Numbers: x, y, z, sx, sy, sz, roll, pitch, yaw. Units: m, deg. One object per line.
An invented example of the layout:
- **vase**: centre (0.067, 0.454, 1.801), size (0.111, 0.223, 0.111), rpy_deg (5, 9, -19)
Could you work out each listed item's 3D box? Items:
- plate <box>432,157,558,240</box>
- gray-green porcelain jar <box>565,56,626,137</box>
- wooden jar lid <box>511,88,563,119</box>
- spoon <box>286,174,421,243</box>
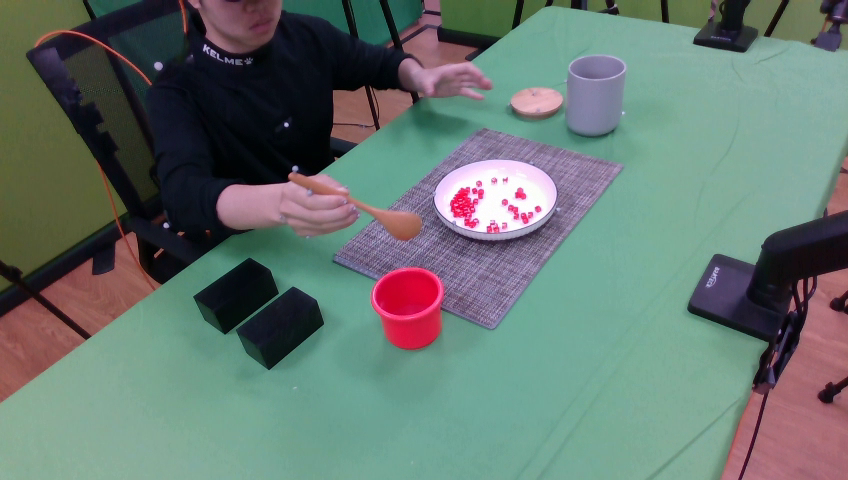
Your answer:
- **plate**: centre (0.118, -0.066, 1.013), size (0.207, 0.039, 0.206), rpy_deg (-4, 41, 4)
- **gray-green porcelain jar**: centre (0.325, -0.271, 1.159), size (0.106, 0.127, 0.105), rpy_deg (-4, 41, 4)
- **wooden jar lid**: centre (0.237, -0.286, 1.271), size (0.108, 0.021, 0.108), rpy_deg (-5, 42, 5)
- **spoon**: centre (-0.082, -0.039, 0.741), size (0.195, 0.041, 0.021), rpy_deg (23, 20, -30)
